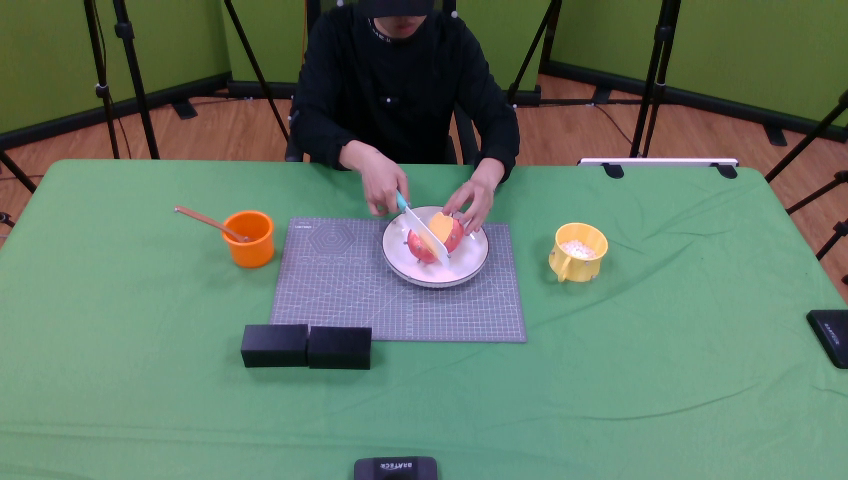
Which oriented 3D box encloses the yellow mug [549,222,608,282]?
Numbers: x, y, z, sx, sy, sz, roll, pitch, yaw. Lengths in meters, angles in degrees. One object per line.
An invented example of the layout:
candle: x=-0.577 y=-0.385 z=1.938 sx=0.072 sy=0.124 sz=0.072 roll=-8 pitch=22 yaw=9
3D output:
yellow mug: x=0.287 y=0.031 z=1.159 sx=0.099 sy=0.064 sz=0.130 roll=27 pitch=51 yaw=21

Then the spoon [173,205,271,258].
spoon: x=-0.362 y=-0.017 z=1.098 sx=0.021 sy=0.195 sz=0.041 roll=-32 pitch=42 yaw=27

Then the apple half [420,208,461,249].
apple half: x=0.036 y=-0.015 z=1.151 sx=0.080 sy=0.053 sz=0.074 roll=28 pitch=88 yaw=45

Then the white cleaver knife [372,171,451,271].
white cleaver knife: x=-0.029 y=-0.041 z=1.165 sx=0.021 sy=0.066 sz=0.284 roll=-23 pitch=48 yaw=-19

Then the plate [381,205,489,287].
plate: x=0.021 y=0.015 z=1.170 sx=0.209 sy=0.038 sz=0.208 roll=2 pitch=46 yaw=-2

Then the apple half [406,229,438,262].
apple half: x=-0.009 y=0.019 z=1.138 sx=0.033 sy=0.082 sz=0.081 roll=-41 pitch=56 yaw=-1
